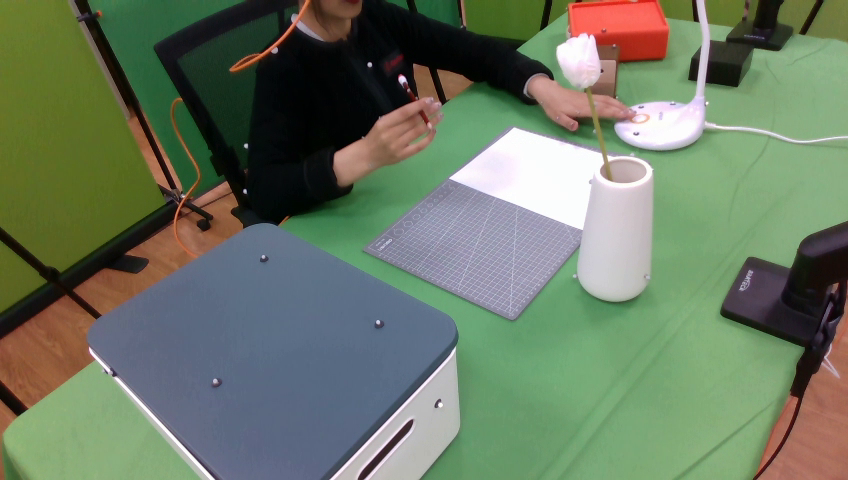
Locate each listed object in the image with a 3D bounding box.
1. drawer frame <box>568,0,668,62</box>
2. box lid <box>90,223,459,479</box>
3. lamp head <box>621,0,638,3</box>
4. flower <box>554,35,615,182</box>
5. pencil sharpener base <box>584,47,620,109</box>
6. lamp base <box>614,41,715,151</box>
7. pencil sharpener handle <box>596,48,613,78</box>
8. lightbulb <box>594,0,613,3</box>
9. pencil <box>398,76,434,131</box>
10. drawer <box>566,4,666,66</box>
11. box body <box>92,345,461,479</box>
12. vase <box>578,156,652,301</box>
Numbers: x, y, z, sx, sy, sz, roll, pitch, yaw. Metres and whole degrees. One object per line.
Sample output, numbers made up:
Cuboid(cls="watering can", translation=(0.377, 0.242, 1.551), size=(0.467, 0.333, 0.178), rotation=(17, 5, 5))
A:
Cuboid(cls="drawer frame", translation=(0.450, -0.495, 1.441), size=(0.213, 0.083, 0.201), rotation=(-1, 40, 9))
Cuboid(cls="box lid", translation=(-0.174, 0.102, 0.666), size=(0.368, 0.015, 0.264), rotation=(24, 48, 35))
Cuboid(cls="lamp head", translation=(0.319, -0.453, 0.962), size=(0.113, 0.123, 0.112), rotation=(20, 33, -13))
Cuboid(cls="flower", translation=(0.237, -0.083, 0.774), size=(0.044, 0.363, 0.038), rotation=(-22, 26, 6))
Cuboid(cls="pencil sharpener base", translation=(0.367, -0.336, 1.248), size=(0.061, 0.107, 0.076), rotation=(6, 42, 19))
Cuboid(cls="lamp base", translation=(0.449, -0.277, 1.106), size=(0.179, 0.181, 0.160), rotation=(1, 41, 9))
Cuboid(cls="pencil sharpener handle", translation=(0.382, -0.378, 1.276), size=(0.036, 0.068, 0.030), rotation=(3, 41, 21))
Cuboid(cls="lightbulb", translation=(0.305, -0.437, 0.977), size=(0.060, 0.107, 0.059), rotation=(12, 44, -11))
Cuboid(cls="pencil", translation=(-0.014, -0.223, 0.979), size=(0.012, 0.012, 0.192), rotation=(-16, 42, -8))
Cuboid(cls="drawer", translation=(0.447, -0.493, 1.441), size=(0.211, 0.073, 0.194), rotation=(0, 40, 9))
Cuboid(cls="box body", translation=(-0.162, 0.170, 0.708), size=(0.361, 0.161, 0.255), rotation=(25, 50, 34))
Cuboid(cls="vase", translation=(0.261, -0.011, 0.812), size=(0.098, 0.201, 0.097), rotation=(-4, 40, 4))
